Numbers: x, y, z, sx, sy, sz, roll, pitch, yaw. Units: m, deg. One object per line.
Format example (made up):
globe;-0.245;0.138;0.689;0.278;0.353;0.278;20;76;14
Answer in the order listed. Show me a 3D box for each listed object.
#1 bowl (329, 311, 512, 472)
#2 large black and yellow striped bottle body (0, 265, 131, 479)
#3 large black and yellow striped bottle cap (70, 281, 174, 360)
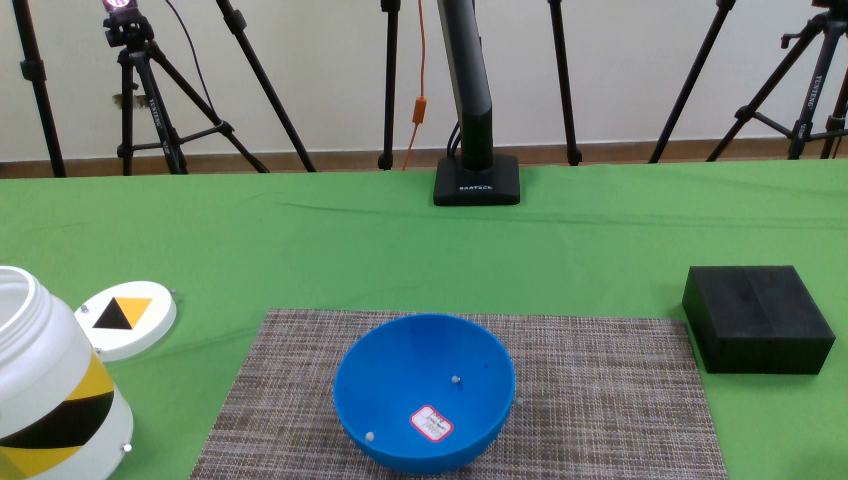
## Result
bowl;0.000;0.140;0.519;0.151;0.077;0.150;-3;38;3
large black and yellow striped bottle body;-0.341;0.124;0.502;0.131;0.185;0.129;-3;38;3
large black and yellow striped bottle cap;-0.346;0.089;0.687;0.115;0.019;0.114;-2;37;2
